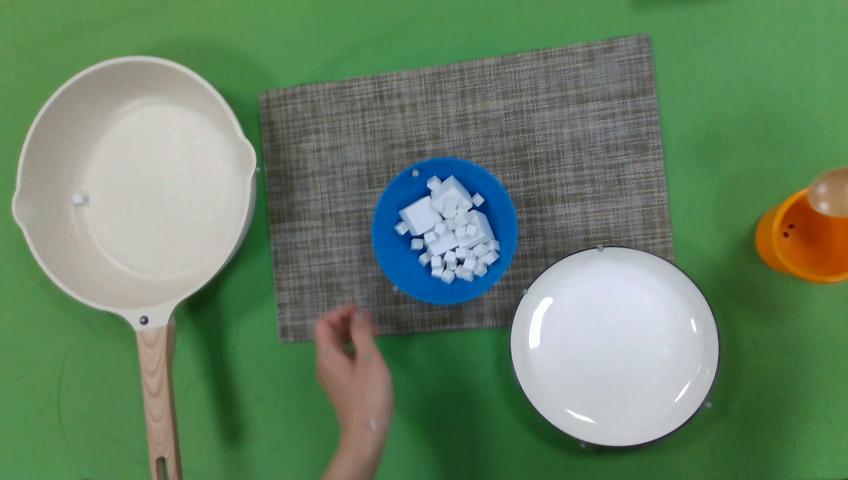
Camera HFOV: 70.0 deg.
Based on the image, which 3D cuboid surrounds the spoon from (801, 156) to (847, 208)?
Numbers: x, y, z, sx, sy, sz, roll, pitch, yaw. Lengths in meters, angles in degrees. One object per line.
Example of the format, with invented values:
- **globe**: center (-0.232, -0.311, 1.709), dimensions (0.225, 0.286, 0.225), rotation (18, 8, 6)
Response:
- **spoon**: center (0.375, -0.048, 0.425), dimensions (0.192, 0.022, 0.041), rotation (-3, 100, 52)

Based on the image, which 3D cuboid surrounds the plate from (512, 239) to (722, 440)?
- **plate**: center (0.197, 0.101, 0.635), dimensions (0.207, 0.039, 0.207), rotation (0, 91, 9)

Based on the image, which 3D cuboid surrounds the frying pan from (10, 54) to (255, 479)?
- **frying pan**: center (-0.312, 0.037, 0.689), dimensions (0.306, 0.103, 0.485), rotation (-10, 79, 10)

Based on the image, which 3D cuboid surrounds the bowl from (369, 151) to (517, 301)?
- **bowl**: center (0.024, -0.012, 0.643), dimensions (0.151, 0.077, 0.151), rotation (0, 89, 10)
